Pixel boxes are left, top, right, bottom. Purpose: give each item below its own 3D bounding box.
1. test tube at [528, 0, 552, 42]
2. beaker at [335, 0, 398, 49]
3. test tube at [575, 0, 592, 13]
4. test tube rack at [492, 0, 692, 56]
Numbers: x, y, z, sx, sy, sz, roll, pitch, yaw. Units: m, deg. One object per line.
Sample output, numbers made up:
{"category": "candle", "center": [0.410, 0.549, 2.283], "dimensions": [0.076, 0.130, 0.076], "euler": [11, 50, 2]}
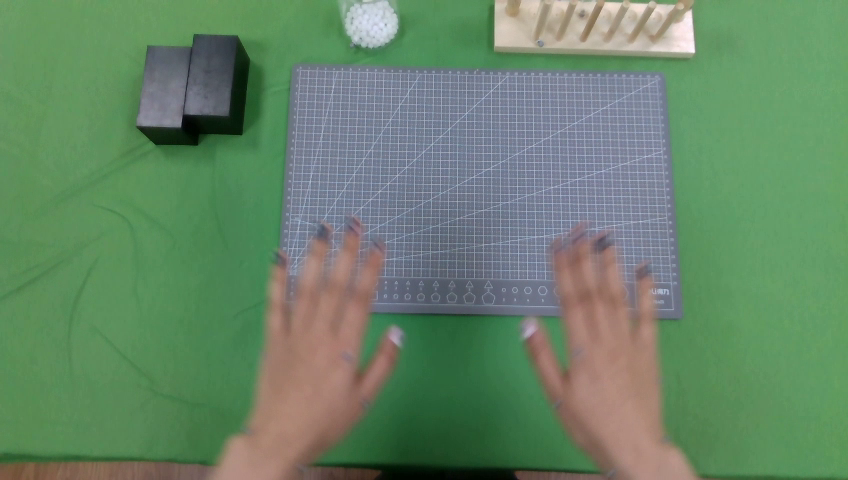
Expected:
{"category": "test tube", "center": [0.133, -0.265, 0.662], "dimensions": [0.017, 0.151, 0.017], "euler": [0, 74, 0]}
{"category": "beaker", "center": [-0.067, -0.279, 0.701], "dimensions": [0.074, 0.100, 0.083], "euler": [-3, 76, -1]}
{"category": "test tube", "center": [0.195, -0.300, 0.666], "dimensions": [0.017, 0.151, 0.017], "euler": [1, 74, -3]}
{"category": "test tube rack", "center": [0.205, -0.271, 0.709], "dimensions": [0.242, 0.085, 0.066], "euler": [2, 77, 0]}
